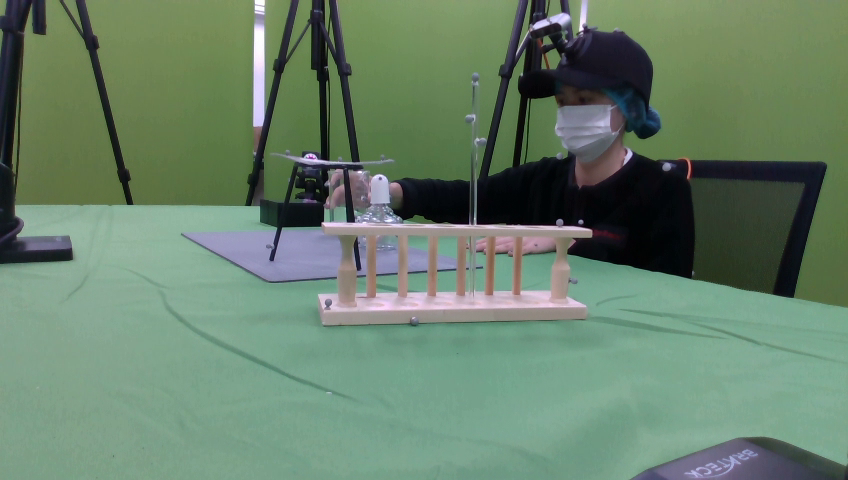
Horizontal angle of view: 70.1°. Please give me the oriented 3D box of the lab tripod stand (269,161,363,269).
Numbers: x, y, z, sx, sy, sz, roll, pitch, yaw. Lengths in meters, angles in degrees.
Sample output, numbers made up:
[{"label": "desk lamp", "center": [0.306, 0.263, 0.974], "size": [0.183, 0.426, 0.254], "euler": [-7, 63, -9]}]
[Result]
[{"label": "lab tripod stand", "center": [-0.125, -0.036, 0.794], "size": [0.148, 0.131, 0.148], "euler": [5, 7, 0]}]

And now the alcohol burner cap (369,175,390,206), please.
[{"label": "alcohol burner cap", "center": [-0.069, -0.077, 0.939], "size": [0.034, 0.048, 0.034], "euler": [0, 6, 0]}]

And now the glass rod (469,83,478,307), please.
[{"label": "glass rod", "center": [0.043, -0.033, 0.523], "size": [0.008, 0.199, 0.008], "euler": [-1, 14, 1]}]

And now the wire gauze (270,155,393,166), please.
[{"label": "wire gauze", "center": [-0.121, -0.102, 0.785], "size": [0.122, 0.011, 0.124], "euler": [-3, 10, -39]}]

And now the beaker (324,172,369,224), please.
[{"label": "beaker", "center": [-0.130, -0.068, 1.047], "size": [0.074, 0.100, 0.083], "euler": [-6, 9, -35]}]

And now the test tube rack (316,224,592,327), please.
[{"label": "test tube rack", "center": [0.026, 0.028, 0.555], "size": [0.243, 0.085, 0.066], "euler": [1, 7, -14]}]

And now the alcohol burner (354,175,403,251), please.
[{"label": "alcohol burner", "center": [-0.072, -0.042, 0.944], "size": [0.078, 0.119, 0.078], "euler": [1, 8, 0]}]
